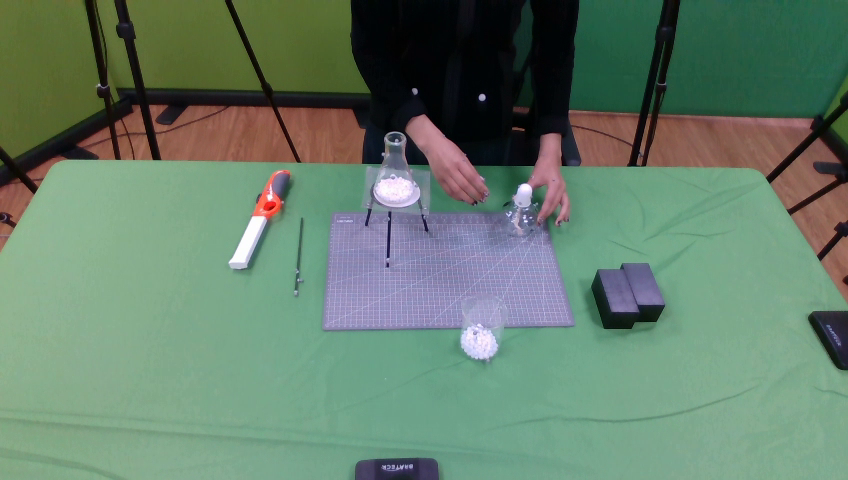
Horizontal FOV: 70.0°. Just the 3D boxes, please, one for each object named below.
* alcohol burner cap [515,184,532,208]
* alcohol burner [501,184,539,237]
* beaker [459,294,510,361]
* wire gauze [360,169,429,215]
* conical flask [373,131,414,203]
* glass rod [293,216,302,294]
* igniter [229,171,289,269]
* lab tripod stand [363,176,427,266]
[{"bbox_3d":[0.196,-0.089,1.183,0.034,0.048,0.033,1,52,-1],"label":"alcohol burner cap"},{"bbox_3d":[0.195,-0.064,1.211,0.078,0.119,0.077,3,44,-3],"label":"alcohol burner"},{"bbox_3d":[0.095,0.147,1.012,0.083,0.101,0.074,26,49,21],"label":"beaker"},{"bbox_3d":[-0.052,-0.092,1.111,0.125,0.011,0.120,3,43,1],"label":"wire gauze"},{"bbox_3d":[-0.053,-0.131,1.067,0.075,0.122,0.075,2,44,-2],"label":"conical flask"},{"bbox_3d":[-0.243,0.024,1.166,0.008,0.008,0.198,-2,47,-5],"label":"glass rod"},{"bbox_3d":[-0.328,-0.049,1.218,0.057,0.025,0.275,0,45,11],"label":"igniter"},{"bbox_3d":[-0.058,-0.047,1.159,0.148,0.132,0.147,3,44,-2],"label":"lab tripod stand"}]
